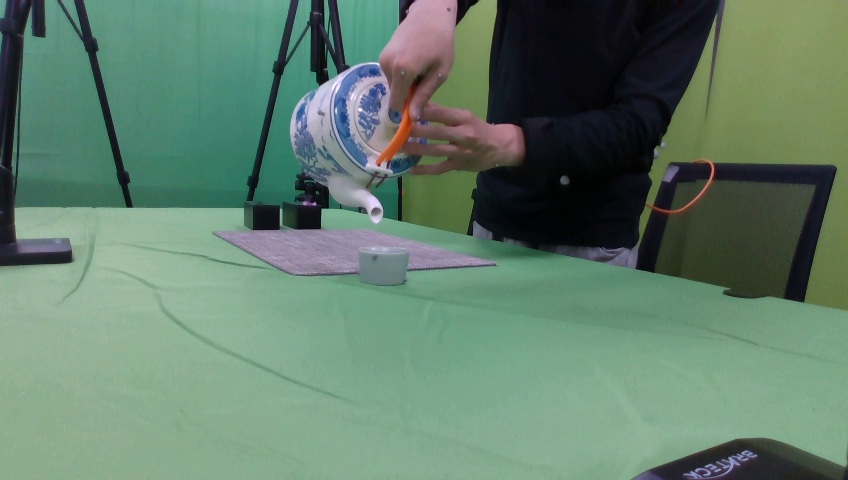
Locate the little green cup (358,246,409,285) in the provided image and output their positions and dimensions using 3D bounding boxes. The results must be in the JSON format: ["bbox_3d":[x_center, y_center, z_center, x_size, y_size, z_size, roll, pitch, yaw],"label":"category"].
[{"bbox_3d":[-0.048,0.029,0.707,0.061,0.038,0.061,2,8,0],"label":"little green cup"}]

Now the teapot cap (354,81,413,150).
[{"bbox_3d":[-0.046,-0.151,0.733,0.085,0.085,0.043,-3,2,-35],"label":"teapot cap"}]

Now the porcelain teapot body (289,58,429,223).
[{"bbox_3d":[-0.069,-0.119,0.764,0.146,0.205,0.224,9,-8,-35],"label":"porcelain teapot body"}]
